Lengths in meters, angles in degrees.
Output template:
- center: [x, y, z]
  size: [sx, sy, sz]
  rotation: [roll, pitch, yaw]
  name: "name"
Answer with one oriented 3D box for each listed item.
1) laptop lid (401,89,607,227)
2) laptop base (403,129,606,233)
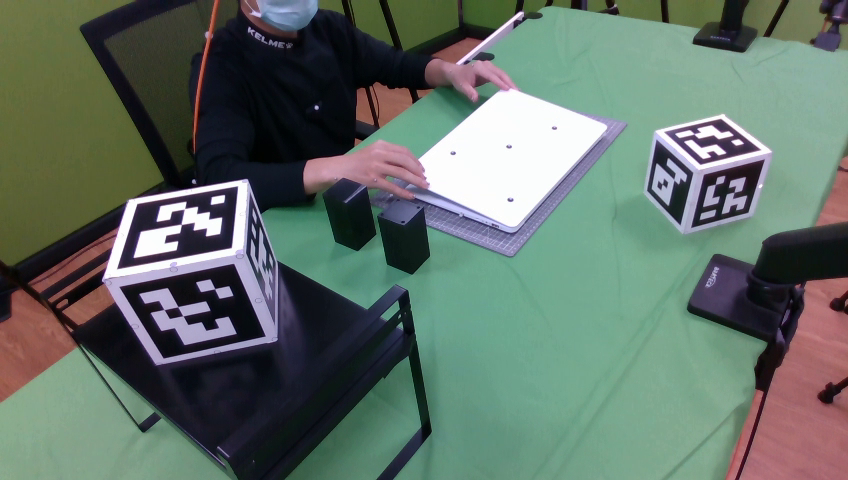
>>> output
- center: [0.154, -0.167, 1.097]
  size: [0.240, 0.013, 0.358]
  rotation: [29, 52, 26]
  name: "laptop lid"
- center: [0.156, -0.144, 1.117]
  size: [0.233, 0.023, 0.355]
  rotation: [20, 47, 32]
  name: "laptop base"
